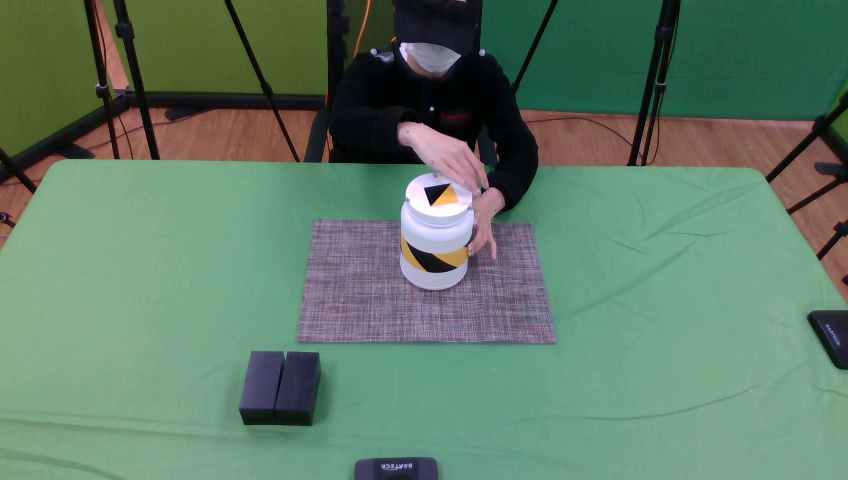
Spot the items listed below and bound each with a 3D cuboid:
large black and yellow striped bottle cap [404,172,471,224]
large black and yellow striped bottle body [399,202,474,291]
[{"bbox_3d":[0.023,-0.073,1.034,0.115,0.019,0.114,2,47,-2],"label":"large black and yellow striped bottle cap"},{"bbox_3d":[0.020,-0.012,1.094,0.131,0.185,0.130,2,46,-2],"label":"large black and yellow striped bottle body"}]
